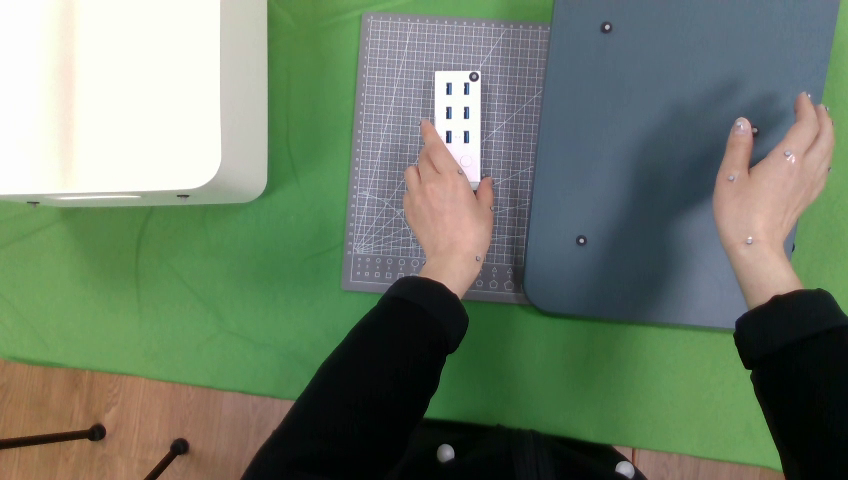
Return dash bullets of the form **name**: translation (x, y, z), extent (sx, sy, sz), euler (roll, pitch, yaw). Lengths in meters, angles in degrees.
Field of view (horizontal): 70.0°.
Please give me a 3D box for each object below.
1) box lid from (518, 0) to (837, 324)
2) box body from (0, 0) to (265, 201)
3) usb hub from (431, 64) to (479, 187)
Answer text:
- **box lid**: translation (0.239, -0.102, 0.592), extent (0.263, 0.015, 0.372), euler (5, 101, 3)
- **box body**: translation (-0.293, -0.219, 0.577), extent (0.254, 0.160, 0.363), euler (-1, 88, 1)
- **usb hub**: translation (0.033, -0.119, 0.630), extent (0.049, 0.025, 0.125), euler (0, 89, 1)
